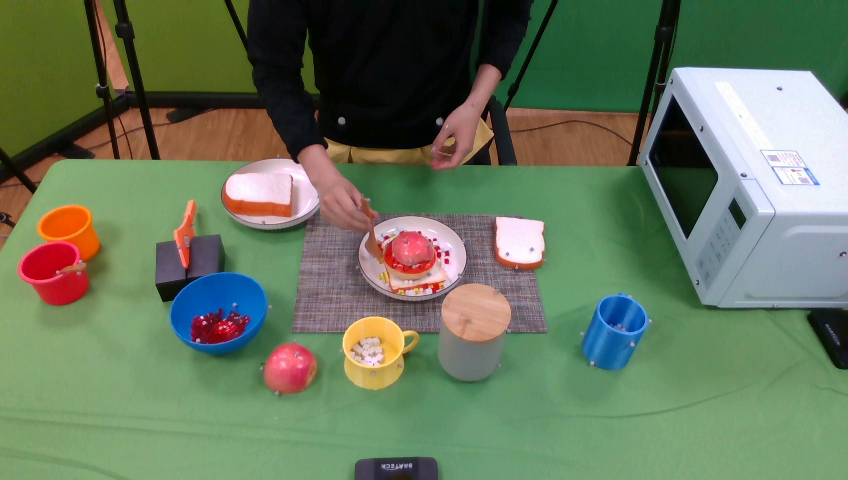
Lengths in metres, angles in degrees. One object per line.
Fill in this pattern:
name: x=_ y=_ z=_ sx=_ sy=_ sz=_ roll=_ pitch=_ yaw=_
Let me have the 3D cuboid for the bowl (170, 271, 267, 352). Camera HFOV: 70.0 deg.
bowl: x=-0.333 y=0.132 z=1.006 sx=0.151 sy=0.077 sz=0.150 roll=2 pitch=46 yaw=-2

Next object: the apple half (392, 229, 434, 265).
apple half: x=-0.020 y=0.005 z=1.084 sx=0.081 sy=0.033 sz=0.081 roll=7 pitch=47 yaw=-7

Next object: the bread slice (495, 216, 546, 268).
bread slice: x=0.194 y=0.002 z=1.205 sx=0.105 sy=0.019 sz=0.131 roll=5 pitch=45 yaw=2

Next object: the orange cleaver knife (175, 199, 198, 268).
orange cleaver knife: x=-0.438 y=-0.017 z=1.138 sx=0.012 sy=0.077 sz=0.210 roll=-14 pitch=27 yaw=-7

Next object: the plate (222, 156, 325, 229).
plate: x=-0.308 y=-0.095 z=1.251 sx=0.209 sy=0.038 sz=0.208 roll=2 pitch=47 yaw=-2

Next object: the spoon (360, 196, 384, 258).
spoon: x=-0.095 y=-0.020 z=1.060 sx=0.041 sy=0.195 sz=0.021 roll=26 pitch=60 yaw=19

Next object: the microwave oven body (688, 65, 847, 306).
microwave oven body: x=0.669 y=-0.111 z=1.176 sx=0.326 sy=0.261 sz=0.439 roll=0 pitch=46 yaw=-3

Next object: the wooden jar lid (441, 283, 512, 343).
wooden jar lid: x=0.080 y=0.114 z=0.931 sx=0.108 sy=0.021 sz=0.107 roll=1 pitch=49 yaw=-1

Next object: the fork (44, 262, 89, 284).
fork: x=-0.599 y=0.054 z=1.014 sx=0.207 sy=0.019 sz=0.028 roll=-15 pitch=29 yaw=45

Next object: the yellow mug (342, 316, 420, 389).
yellow mug: x=-0.067 y=0.178 z=0.990 sx=0.131 sy=0.064 sz=0.099 roll=-16 pitch=50 yaw=-19

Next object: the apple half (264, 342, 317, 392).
apple half: x=-0.214 y=0.198 z=0.970 sx=0.074 sy=0.053 sz=0.080 roll=19 pitch=48 yaw=11

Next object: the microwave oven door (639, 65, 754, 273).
microwave oven door: x=0.522 y=-0.147 z=1.192 sx=0.039 sy=0.245 sz=0.353 roll=0 pitch=47 yaw=-3

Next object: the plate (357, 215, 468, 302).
plate: x=-0.022 y=0.037 z=1.141 sx=0.208 sy=0.039 sz=0.206 roll=2 pitch=46 yaw=-2

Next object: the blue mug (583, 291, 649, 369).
blue mug: x=0.324 y=0.142 z=1.023 sx=0.082 sy=0.106 sz=0.116 roll=15 pitch=47 yaw=11

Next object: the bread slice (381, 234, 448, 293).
bread slice: x=-0.028 y=0.042 z=1.144 sx=0.107 sy=0.018 sz=0.133 roll=-12 pitch=54 yaw=-15

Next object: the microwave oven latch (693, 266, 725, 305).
microwave oven latch: x=0.523 y=0.082 z=1.115 sx=0.030 sy=0.029 sz=0.078 roll=3 pitch=46 yaw=0

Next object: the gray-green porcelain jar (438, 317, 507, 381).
gray-green porcelain jar: x=0.076 y=0.158 z=0.977 sx=0.106 sy=0.127 sz=0.105 roll=2 pitch=47 yaw=-2

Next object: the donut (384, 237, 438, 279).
donut: x=-0.025 y=0.029 z=1.110 sx=0.099 sy=0.048 sz=0.098 roll=3 pitch=46 yaw=-3
